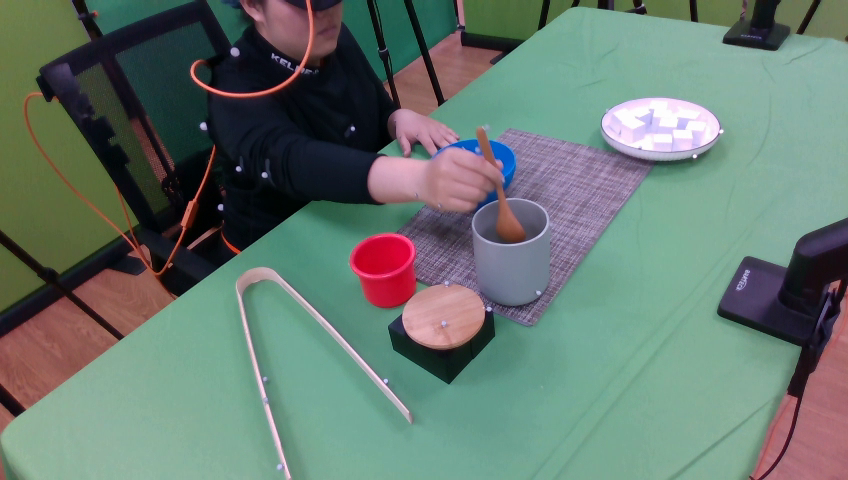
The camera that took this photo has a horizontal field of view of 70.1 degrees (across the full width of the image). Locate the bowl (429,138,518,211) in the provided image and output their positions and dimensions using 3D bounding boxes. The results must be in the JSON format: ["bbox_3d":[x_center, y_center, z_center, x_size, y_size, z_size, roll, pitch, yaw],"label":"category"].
[{"bbox_3d":[0.087,-0.104,1.043,0.151,0.077,0.150,-5,40,5],"label":"bowl"}]

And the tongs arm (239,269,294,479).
[{"bbox_3d":[-0.208,0.163,0.824,0.051,0.026,0.381,-21,40,-15],"label":"tongs arm"}]

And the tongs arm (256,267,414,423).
[{"bbox_3d":[-0.136,0.133,0.853,0.028,0.028,0.384,-34,45,-23],"label":"tongs arm"}]

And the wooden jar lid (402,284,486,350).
[{"bbox_3d":[0.027,0.101,0.786,0.108,0.021,0.108,-5,39,5],"label":"wooden jar lid"}]

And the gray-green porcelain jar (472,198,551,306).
[{"bbox_3d":[0.125,0.021,0.850,0.106,0.127,0.105,-6,40,5],"label":"gray-green porcelain jar"}]

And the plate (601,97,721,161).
[{"bbox_3d":[0.437,-0.202,1.126,0.209,0.038,0.208,-5,39,5],"label":"plate"}]

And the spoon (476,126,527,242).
[{"bbox_3d":[0.095,-0.065,0.774,0.041,0.195,0.021,3,43,30],"label":"spoon"}]
